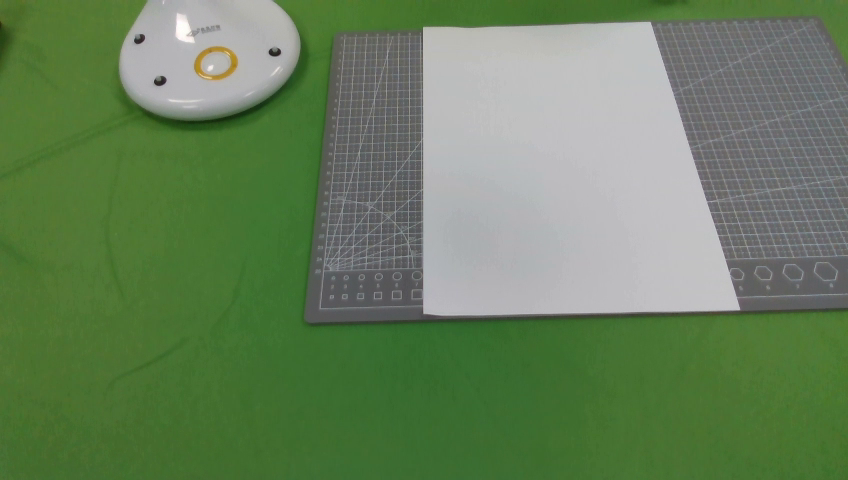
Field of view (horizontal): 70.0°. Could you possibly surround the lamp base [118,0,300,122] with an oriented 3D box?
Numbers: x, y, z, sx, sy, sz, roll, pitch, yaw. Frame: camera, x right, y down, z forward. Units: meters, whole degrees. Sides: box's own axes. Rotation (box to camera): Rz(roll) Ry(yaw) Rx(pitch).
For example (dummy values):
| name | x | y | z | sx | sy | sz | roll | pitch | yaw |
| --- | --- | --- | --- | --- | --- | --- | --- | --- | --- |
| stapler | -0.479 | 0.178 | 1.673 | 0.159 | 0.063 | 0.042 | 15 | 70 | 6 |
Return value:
| name | x | y | z | sx | sy | sz | roll | pitch | yaw |
| --- | --- | --- | --- | --- | --- | --- | --- | --- | --- |
| lamp base | -0.202 | -0.217 | 0.488 | 0.161 | 0.182 | 0.177 | -29 | 58 | -15 |
